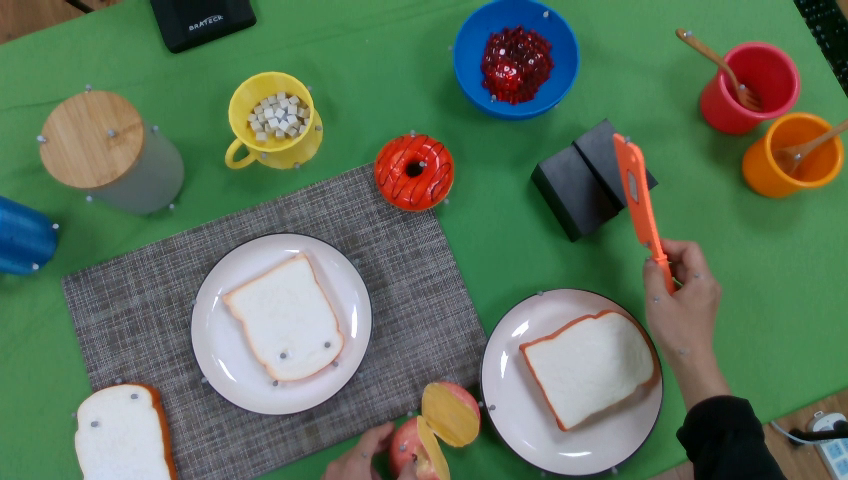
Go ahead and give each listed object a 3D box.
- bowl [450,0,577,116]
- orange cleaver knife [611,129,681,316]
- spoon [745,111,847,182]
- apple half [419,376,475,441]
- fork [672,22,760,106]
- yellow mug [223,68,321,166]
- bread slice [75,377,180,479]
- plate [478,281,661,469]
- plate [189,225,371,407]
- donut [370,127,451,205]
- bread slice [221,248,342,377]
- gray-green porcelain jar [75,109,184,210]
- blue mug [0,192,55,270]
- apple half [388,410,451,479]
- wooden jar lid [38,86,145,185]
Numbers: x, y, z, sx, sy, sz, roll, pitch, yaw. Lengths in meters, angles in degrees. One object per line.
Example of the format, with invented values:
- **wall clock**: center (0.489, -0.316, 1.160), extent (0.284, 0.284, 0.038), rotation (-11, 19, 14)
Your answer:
- **bowl**: center (0.105, -0.214, 0.748), extent (0.151, 0.077, 0.151), rotation (0, 80, 0)
- **orange cleaver knife**: center (0.241, -0.020, 0.664), extent (0.012, 0.077, 0.212), rotation (-19, 102, 1)
- **spoon**: center (0.467, -0.128, 0.700), extent (0.022, 0.194, 0.041), rotation (-16, 74, -49)
- **apple half**: center (0.030, 0.187, 0.690), extent (0.033, 0.081, 0.081), rotation (-28, 78, -44)
- **fork**: center (0.348, -0.205, 0.713), extent (0.209, 0.018, 0.028), rotation (19, 75, -40)
- **yellow mug**: center (-0.192, -0.138, 0.736), extent (0.099, 0.064, 0.131), rotation (44, 83, 7)
- **bread slice**: center (-0.344, 0.225, 0.689), extent (0.105, 0.019, 0.131), rotation (-14, 81, -4)
- **plate**: center (0.164, 0.153, 0.700), extent (0.209, 0.038, 0.208), rotation (0, 79, 0)
- **plate**: center (-0.164, 0.087, 0.705), extent (0.208, 0.039, 0.207), rotation (0, 80, -1)
- **donut**: center (-0.015, -0.090, 0.736), extent (0.099, 0.048, 0.098), rotation (0, 80, -1)
- **bread slice**: center (-0.156, 0.089, 0.706), extent (0.107, 0.018, 0.134), rotation (-33, 81, -6)
- **gray-green porcelain jar**: center (-0.345, -0.095, 0.696), extent (0.106, 0.127, 0.105), rotation (0, 79, 0)
- **blue mug**: center (-0.502, -0.002, 0.687), extent (0.082, 0.106, 0.116), rotation (42, 82, 7)
- **apple half**: center (-0.011, 0.234, 0.666), extent (0.053, 0.075, 0.080), rotation (-30, 82, 6)
- **wooden jar lid**: center (-0.345, -0.107, 0.635), extent (0.108, 0.021, 0.108), rotation (0, 78, 1)
